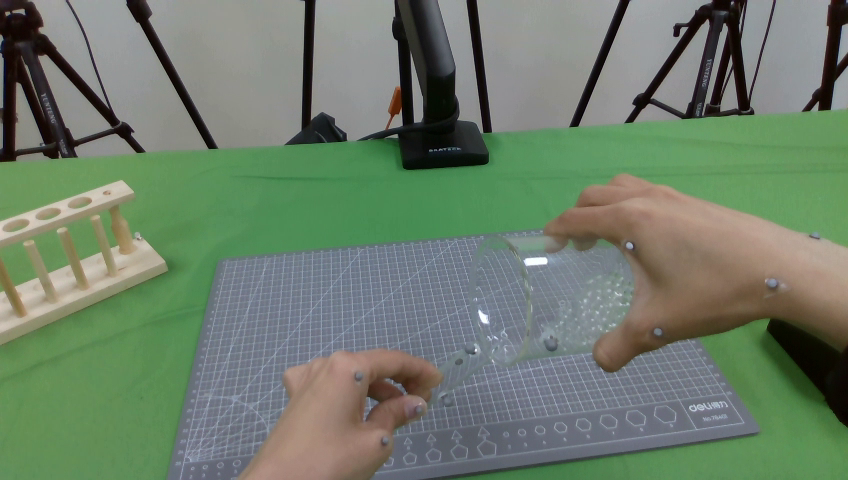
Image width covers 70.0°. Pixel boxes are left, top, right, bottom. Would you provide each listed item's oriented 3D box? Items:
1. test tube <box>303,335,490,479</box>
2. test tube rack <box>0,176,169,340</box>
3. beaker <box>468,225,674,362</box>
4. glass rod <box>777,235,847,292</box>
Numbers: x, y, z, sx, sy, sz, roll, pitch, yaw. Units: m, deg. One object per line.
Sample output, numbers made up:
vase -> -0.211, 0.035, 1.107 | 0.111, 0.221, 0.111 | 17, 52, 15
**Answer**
test tube -> -0.020, 0.108, 0.380 | 0.150, 0.017, 0.017 | -39, 36, 13
test tube rack -> -0.384, 0.029, 0.576 | 0.242, 0.086, 0.066 | -28, 44, -33
beaker -> 0.085, 0.031, 0.356 | 0.101, 0.084, 0.073 | -3, 41, -19
glass rod -> 0.372, 0.050, 0.510 | 0.008, 0.008, 0.197 | -11, 37, -13
